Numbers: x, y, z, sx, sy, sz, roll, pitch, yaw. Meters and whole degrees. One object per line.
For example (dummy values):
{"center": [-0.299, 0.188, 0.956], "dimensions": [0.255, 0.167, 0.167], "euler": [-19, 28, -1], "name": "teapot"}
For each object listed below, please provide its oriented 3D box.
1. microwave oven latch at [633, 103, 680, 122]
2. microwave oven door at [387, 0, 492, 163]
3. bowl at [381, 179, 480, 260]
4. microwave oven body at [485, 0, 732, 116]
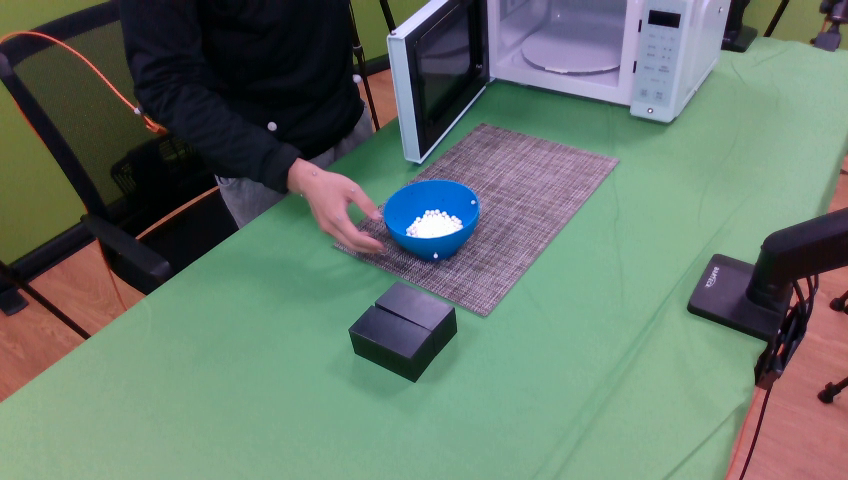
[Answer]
{"center": [0.443, -0.249, 1.157], "dimensions": [0.078, 0.029, 0.030], "euler": [20, 48, 30], "name": "microwave oven latch"}
{"center": [0.044, -0.346, 1.171], "dimensions": [0.039, 0.245, 0.356], "euler": [14, 45, 24], "name": "microwave oven door"}
{"center": [0.014, -0.021, 0.942], "dimensions": [0.151, 0.077, 0.150], "euler": [-4, 40, 4], "name": "bowl"}
{"center": [0.377, -0.462, 1.267], "dimensions": [0.438, 0.261, 0.327], "euler": [21, 49, 30], "name": "microwave oven body"}
